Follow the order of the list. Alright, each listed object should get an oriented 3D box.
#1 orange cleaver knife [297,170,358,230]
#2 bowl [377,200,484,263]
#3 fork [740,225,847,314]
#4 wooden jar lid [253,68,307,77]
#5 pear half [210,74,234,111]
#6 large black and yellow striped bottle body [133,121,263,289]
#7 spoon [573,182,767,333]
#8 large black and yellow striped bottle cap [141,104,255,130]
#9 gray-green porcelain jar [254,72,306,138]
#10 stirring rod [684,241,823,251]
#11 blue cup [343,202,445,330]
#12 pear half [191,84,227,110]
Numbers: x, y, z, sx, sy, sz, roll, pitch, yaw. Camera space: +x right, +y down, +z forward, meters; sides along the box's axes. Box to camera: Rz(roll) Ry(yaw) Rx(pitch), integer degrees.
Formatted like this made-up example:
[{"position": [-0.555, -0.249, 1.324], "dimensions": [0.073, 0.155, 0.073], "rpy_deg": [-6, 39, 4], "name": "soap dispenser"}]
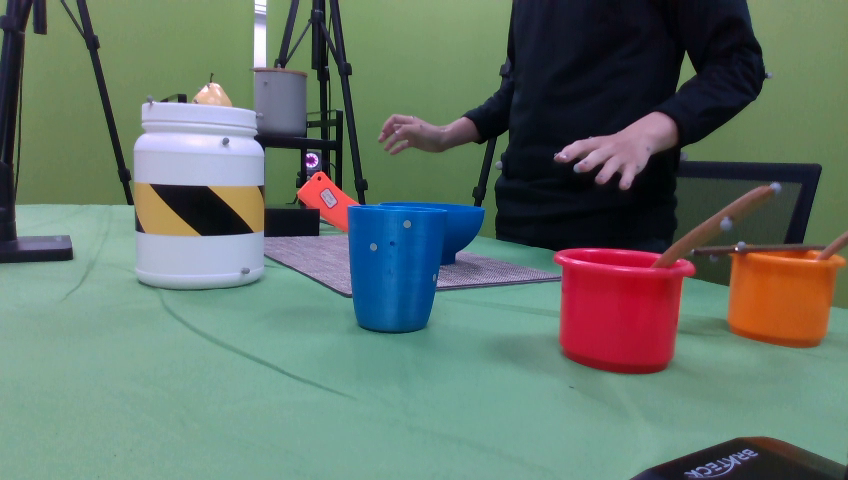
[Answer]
[{"position": [-0.149, -0.058, 1.170], "dimensions": [0.212, 0.077, 0.012], "rpy_deg": [33, -15, -32], "name": "orange cleaver knife"}, {"position": [0.008, -0.012, 0.842], "dimensions": [0.151, 0.077, 0.151], "rpy_deg": [2, 7, 0], "name": "bowl"}, {"position": [0.323, 0.013, 0.485], "dimensions": [0.028, 0.018, 0.207], "rpy_deg": [8, -38, -5], "name": "fork"}, {"position": [-0.297, -0.339, 1.250], "dimensions": [0.108, 0.020, 0.108], "rpy_deg": [3, 10, 0], "name": "wooden jar lid"}, {"position": [-0.401, -0.262, 1.162], "dimensions": [0.076, 0.109, 0.056], "rpy_deg": [7, 7, 2], "name": "pear half"}, {"position": [-0.243, -0.048, 0.659], "dimensions": [0.131, 0.184, 0.130], "rpy_deg": [2, 7, 0], "name": "large black and yellow striped bottle body"}, {"position": [0.158, 0.020, 0.412], "dimensions": [0.042, 0.021, 0.193], "rpy_deg": [-2, -35, -21], "name": "spoon"}, {"position": [-0.241, -0.131, 0.650], "dimensions": [0.115, 0.019, 0.115], "rpy_deg": [3, 8, 0], "name": "large black and yellow striped bottle cap"}, {"position": [-0.299, -0.278, 1.257], "dimensions": [0.106, 0.126, 0.106], "rpy_deg": [2, 8, 0], "name": "gray-green porcelain jar"}, {"position": [0.289, 0.005, 0.525], "dimensions": [0.177, 0.006, 0.014], "rpy_deg": [-1, 5, -26], "name": "stirring rod"}, {"position": [-0.027, 0.021, 0.510], "dimensions": [0.093, 0.100, 0.092], "rpy_deg": [3, 5, 0], "name": "blue cup"}, {"position": [-0.405, -0.248, 1.128], "dimensions": [0.070, 0.088, 0.031], "rpy_deg": [6, 6, 2], "name": "pear half"}]
